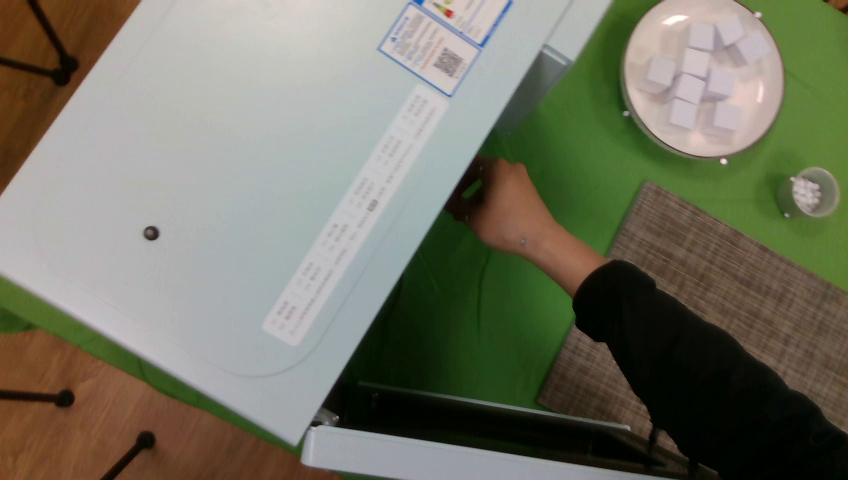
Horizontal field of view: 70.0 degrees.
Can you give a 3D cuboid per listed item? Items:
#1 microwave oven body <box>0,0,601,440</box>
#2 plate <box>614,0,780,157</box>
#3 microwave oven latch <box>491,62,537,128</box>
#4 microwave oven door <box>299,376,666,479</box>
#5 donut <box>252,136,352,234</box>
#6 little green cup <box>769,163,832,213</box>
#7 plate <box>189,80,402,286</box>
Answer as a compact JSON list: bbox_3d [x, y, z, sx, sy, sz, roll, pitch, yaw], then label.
[{"bbox_3d":[-0.109,-0.102,0.569,0.326,0.260,0.441,31,84,-4],"label":"microwave oven body"},{"bbox_3d":[0.330,-0.202,0.745,0.208,0.039,0.207,1,86,-7],"label":"plate"},{"bbox_3d":[0.097,-0.169,0.695,0.030,0.029,0.079,35,84,-4],"label":"microwave oven latch"},{"bbox_3d":[0.072,0.187,0.567,0.356,0.244,0.039,11,83,-6],"label":"microwave oven door"},{"bbox_3d":[-0.121,-0.055,0.606,0.099,0.048,0.099,0,95,-4],"label":"donut"},{"bbox_3d":[0.464,-0.062,0.751,0.061,0.038,0.061,1,85,-6],"label":"little green cup"},{"bbox_3d":[-0.127,-0.057,0.617,0.209,0.038,0.208,1,85,-6],"label":"plate"}]
